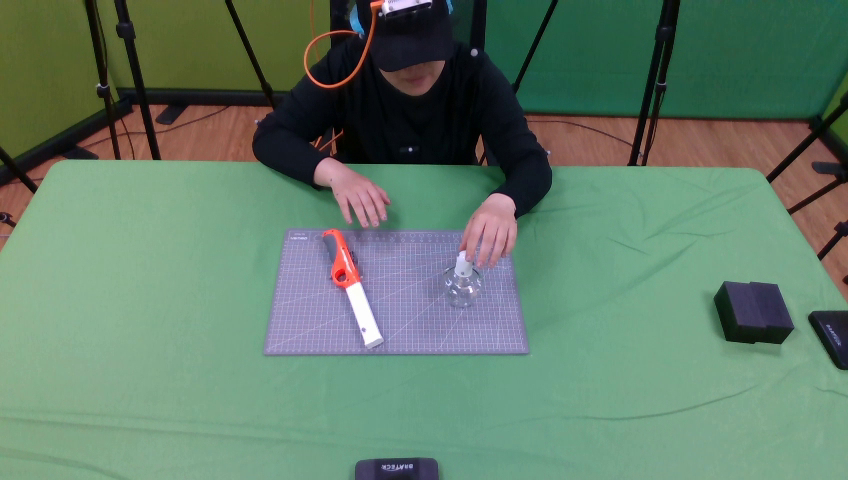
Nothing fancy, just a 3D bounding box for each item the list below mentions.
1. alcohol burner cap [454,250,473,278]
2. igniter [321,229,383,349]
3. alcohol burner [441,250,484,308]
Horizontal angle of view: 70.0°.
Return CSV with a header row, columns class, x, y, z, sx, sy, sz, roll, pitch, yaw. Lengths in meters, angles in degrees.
class,x,y,z,sx,sy,sz,roll,pitch,yaw
alcohol burner cap,0.070,0.040,1.049,0.034,0.048,0.033,2,42,-2
igniter,-0.134,0.078,1.102,0.057,0.025,0.274,-28,53,0
alcohol burner,0.069,0.064,1.075,0.078,0.120,0.077,1,45,-1
